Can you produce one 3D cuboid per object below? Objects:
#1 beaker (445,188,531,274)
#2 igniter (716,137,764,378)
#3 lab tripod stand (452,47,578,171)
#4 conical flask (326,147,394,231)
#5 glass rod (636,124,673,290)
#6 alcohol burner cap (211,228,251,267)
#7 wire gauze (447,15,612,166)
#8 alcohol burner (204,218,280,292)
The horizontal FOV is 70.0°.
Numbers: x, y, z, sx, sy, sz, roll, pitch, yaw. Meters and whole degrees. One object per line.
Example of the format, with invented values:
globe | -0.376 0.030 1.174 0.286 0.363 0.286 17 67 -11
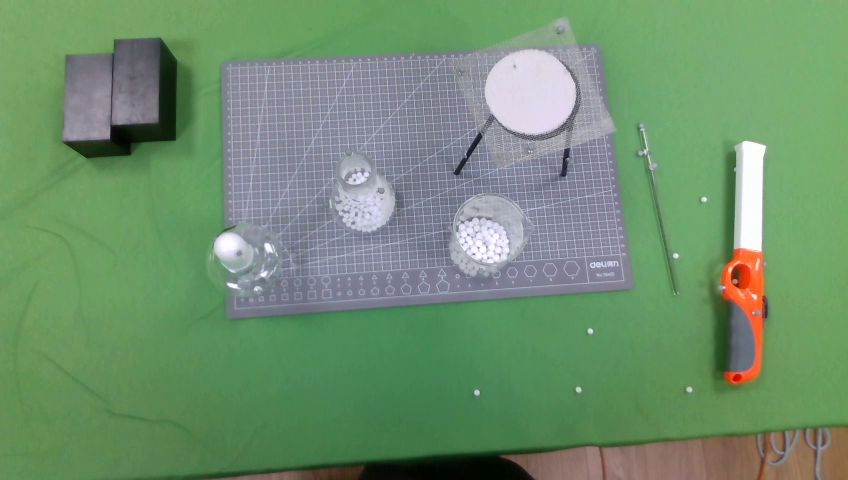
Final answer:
beaker | 0.062 -0.005 0.634 0.084 0.100 0.073 -6 79 -4
igniter | 0.358 0.018 0.683 0.057 0.025 0.275 10 79 -11
lab tripod stand | 0.099 -0.128 0.642 0.148 0.132 0.148 0 81 -2
conical flask | -0.070 -0.058 0.626 0.075 0.122 0.075 1 79 -2
glass rod | 0.265 -0.041 0.699 0.008 0.008 0.199 -6 79 -4
alcohol burner cap | -0.185 0.005 0.576 0.034 0.048 0.033 2 76 -7
wire gauze | 0.100 -0.142 0.576 0.125 0.011 0.121 -20 82 -5
alcohol burner | -0.187 0.013 0.611 0.078 0.119 0.077 1 80 -4
